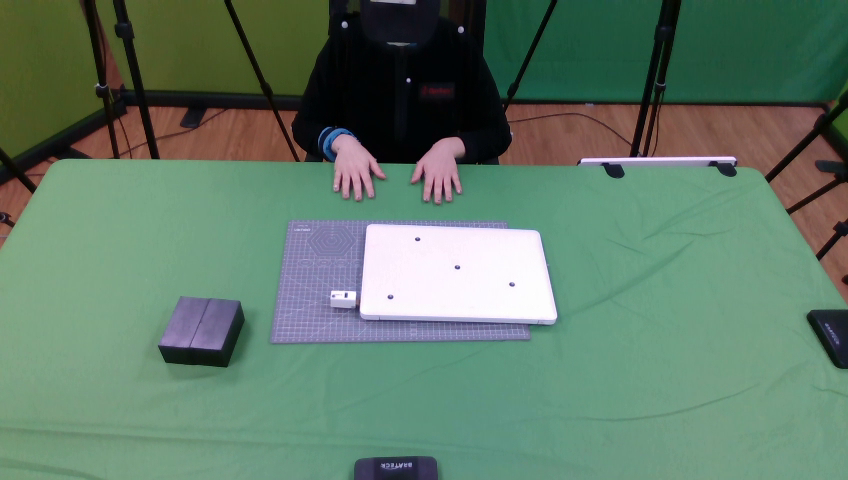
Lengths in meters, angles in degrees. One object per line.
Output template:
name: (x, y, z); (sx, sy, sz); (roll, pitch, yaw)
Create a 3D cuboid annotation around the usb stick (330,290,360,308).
usb stick: (-0.135, 0.105, 1.069); (0.059, 0.027, 0.021); (6, 44, -7)

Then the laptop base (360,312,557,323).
laptop base: (0.061, 0.063, 1.145); (0.354, 0.023, 0.234); (2, 43, -3)

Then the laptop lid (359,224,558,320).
laptop lid: (0.062, 0.053, 1.138); (0.357, 0.013, 0.240); (3, 44, -2)
